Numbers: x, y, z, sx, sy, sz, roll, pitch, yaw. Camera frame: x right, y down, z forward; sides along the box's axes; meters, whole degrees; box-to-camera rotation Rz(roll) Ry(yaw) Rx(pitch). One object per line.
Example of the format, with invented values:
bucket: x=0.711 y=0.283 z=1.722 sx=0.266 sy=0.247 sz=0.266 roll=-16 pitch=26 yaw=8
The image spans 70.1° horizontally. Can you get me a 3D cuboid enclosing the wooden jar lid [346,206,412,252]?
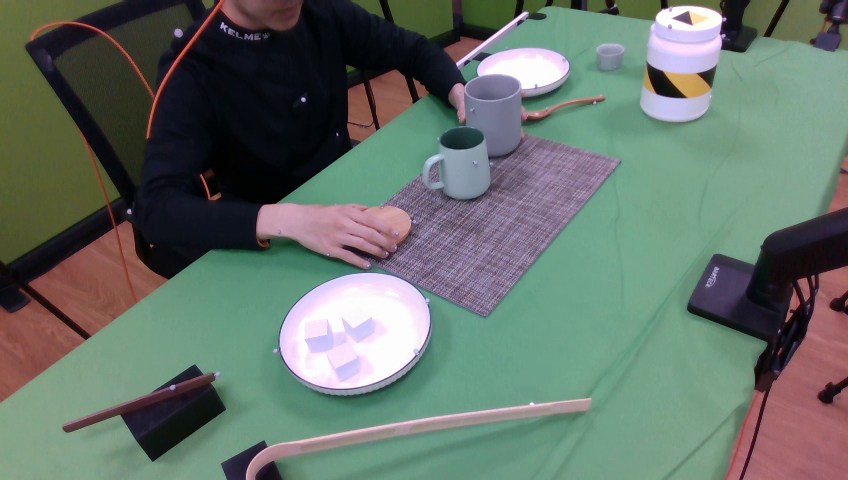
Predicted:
wooden jar lid: x=-0.074 y=-0.017 z=0.996 sx=0.108 sy=0.021 sz=0.108 roll=-4 pitch=39 yaw=3

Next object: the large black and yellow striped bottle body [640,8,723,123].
large black and yellow striped bottle body: x=0.493 y=-0.334 z=1.161 sx=0.131 sy=0.185 sz=0.130 roll=-4 pitch=41 yaw=4

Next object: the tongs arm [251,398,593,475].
tongs arm: x=0.008 y=0.212 z=0.675 sx=0.389 sy=0.028 sz=0.028 roll=-5 pitch=46 yaw=-11

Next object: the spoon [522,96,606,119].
spoon: x=0.291 y=-0.277 z=1.249 sx=0.194 sy=0.022 sz=0.041 roll=-17 pitch=24 yaw=-11

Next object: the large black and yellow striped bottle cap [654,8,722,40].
large black and yellow striped bottle cap: x=0.483 y=-0.397 z=1.108 sx=0.115 sy=0.019 sz=0.114 roll=-3 pitch=41 yaw=3

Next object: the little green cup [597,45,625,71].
little green cup: x=0.423 y=-0.413 z=1.375 sx=0.061 sy=0.039 sz=0.061 roll=-3 pitch=41 yaw=3

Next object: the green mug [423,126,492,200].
green mug: x=0.055 y=-0.126 z=1.040 sx=0.126 sy=0.105 sz=0.091 roll=-25 pitch=44 yaw=-18

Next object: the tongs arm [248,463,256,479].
tongs arm: x=0.012 y=0.262 z=0.615 sx=0.385 sy=0.026 sz=0.050 roll=2 pitch=42 yaw=-2

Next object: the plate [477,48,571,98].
plate: x=0.223 y=-0.371 z=1.357 sx=0.209 sy=0.038 sz=0.208 roll=-4 pitch=41 yaw=4

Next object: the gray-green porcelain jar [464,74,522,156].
gray-green porcelain jar: x=0.131 y=-0.230 z=1.132 sx=0.106 sy=0.127 sz=0.105 roll=-4 pitch=41 yaw=4

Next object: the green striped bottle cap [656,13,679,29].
green striped bottle cap: x=0.515 y=-0.463 z=1.278 sx=0.044 sy=0.020 sz=0.044 roll=-6 pitch=42 yaw=6

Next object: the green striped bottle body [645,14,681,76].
green striped bottle body: x=0.520 y=-0.424 z=1.312 sx=0.063 sy=0.120 sz=0.063 roll=-4 pitch=41 yaw=4

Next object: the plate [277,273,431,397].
plate: x=-0.091 y=0.129 z=0.821 sx=0.207 sy=0.039 sz=0.206 roll=-4 pitch=40 yaw=4

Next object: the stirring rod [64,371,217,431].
stirring rod: x=-0.337 y=0.192 z=0.724 sx=0.177 sy=0.014 sz=0.005 roll=-18 pitch=43 yaw=-12
